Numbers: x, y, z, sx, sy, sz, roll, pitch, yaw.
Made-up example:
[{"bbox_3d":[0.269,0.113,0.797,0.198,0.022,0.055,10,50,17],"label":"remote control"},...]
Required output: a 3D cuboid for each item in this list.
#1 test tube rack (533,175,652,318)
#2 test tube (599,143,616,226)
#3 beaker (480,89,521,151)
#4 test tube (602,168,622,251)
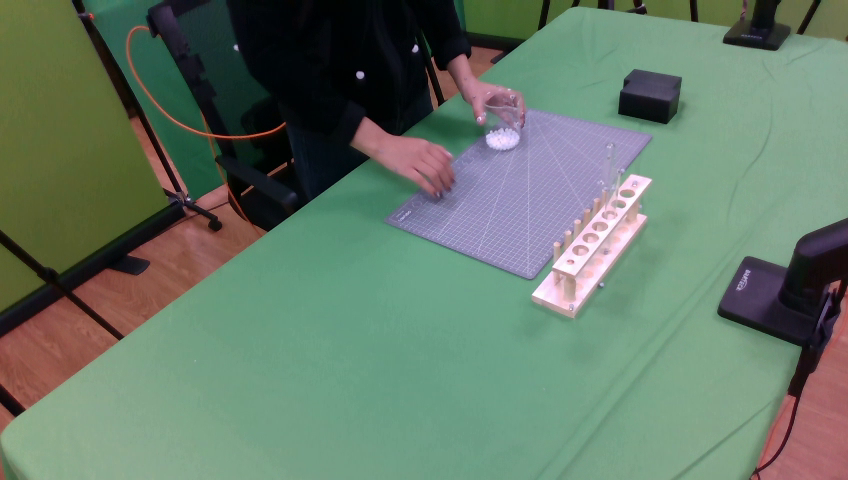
[{"bbox_3d":[0.250,-0.001,0.889,0.066,0.085,0.243,23,49,32],"label":"test tube rack"},{"bbox_3d":[0.273,-0.081,0.909,0.017,0.151,0.017,-4,42,4],"label":"test tube"},{"bbox_3d":[0.152,-0.227,1.160,0.074,0.101,0.083,-33,46,-24],"label":"beaker"},{"bbox_3d":[0.264,-0.039,0.854,0.017,0.151,0.017,-5,44,6],"label":"test tube"}]
